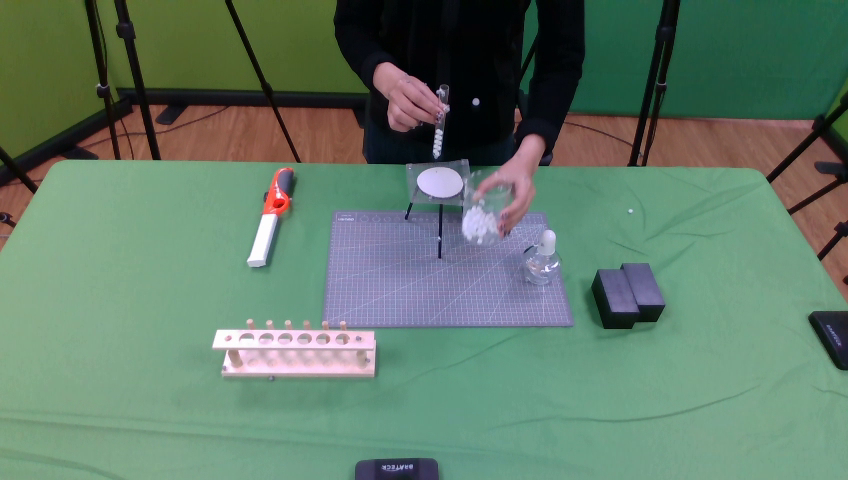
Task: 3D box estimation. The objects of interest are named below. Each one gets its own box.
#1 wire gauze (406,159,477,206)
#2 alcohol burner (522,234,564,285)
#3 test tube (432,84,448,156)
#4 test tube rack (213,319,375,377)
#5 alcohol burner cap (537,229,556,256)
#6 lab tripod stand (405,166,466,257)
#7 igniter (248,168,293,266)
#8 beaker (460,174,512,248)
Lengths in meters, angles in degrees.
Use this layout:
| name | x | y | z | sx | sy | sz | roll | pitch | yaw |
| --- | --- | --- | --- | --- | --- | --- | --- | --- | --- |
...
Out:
| name | x | y | z | sx | sy | sz | roll | pitch | yaw |
| --- | --- | --- | --- | --- | --- | --- | --- | --- | --- |
| wire gauze | 0.031 | -0.108 | 1.129 | 0.125 | 0.011 | 0.120 | -1 | 48 | -4 |
| alcohol burner | 0.223 | 0.027 | 1.120 | 0.078 | 0.119 | 0.077 | 2 | 48 | -2 |
| test tube | 0.026 | -0.198 | 1.019 | 0.017 | 0.151 | 0.017 | 2 | 52 | -3 |
| test tube rack | -0.202 | 0.170 | 0.977 | 0.242 | 0.085 | 0.066 | 1 | 46 | -3 |
| alcohol burner cap | 0.223 | 0.001 | 1.095 | 0.034 | 0.048 | 0.033 | -1 | 44 | 1 |
| lab tripod stand | 0.030 | -0.063 | 1.180 | 0.148 | 0.132 | 0.147 | 3 | 47 | -3 |
| igniter | -0.307 | -0.055 | 1.225 | 0.057 | 0.025 | 0.275 | -3 | 46 | 6 |
| beaker | 0.094 | -0.045 | 0.974 | 0.084 | 0.101 | 0.074 | 19 | 40 | 19 |
